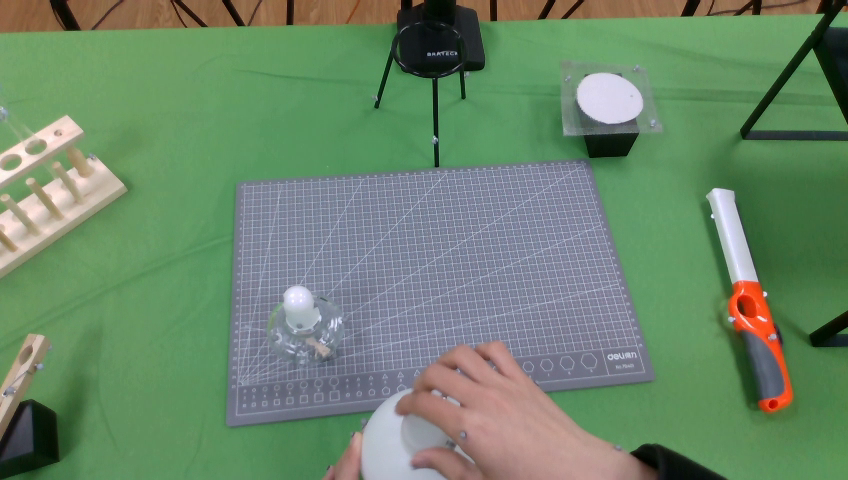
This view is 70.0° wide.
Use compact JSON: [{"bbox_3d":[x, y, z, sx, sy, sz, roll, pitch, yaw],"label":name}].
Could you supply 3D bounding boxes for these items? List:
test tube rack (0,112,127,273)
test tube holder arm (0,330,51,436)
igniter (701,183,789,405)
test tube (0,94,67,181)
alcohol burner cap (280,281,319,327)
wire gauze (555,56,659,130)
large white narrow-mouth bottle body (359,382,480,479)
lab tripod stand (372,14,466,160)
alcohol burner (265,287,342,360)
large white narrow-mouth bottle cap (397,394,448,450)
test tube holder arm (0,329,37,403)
[{"bbox_3d":[-0.465,-0.029,0.663,0.066,0.086,0.242,40,66,17],"label":"test tube rack"},{"bbox_3d":[-0.385,0.166,0.546,0.013,0.015,0.177,8,62,6],"label":"test tube holder arm"},{"bbox_3d":[0.368,0.053,0.699,0.057,0.025,0.274,6,61,-12],"label":"igniter"},{"bbox_3d":[-0.428,-0.111,0.654,0.017,0.151,0.017,0,59,1],"label":"test tube"},{"bbox_3d":[-0.120,0.059,0.574,0.034,0.048,0.033,0,56,0],"label":"alcohol burner cap"},{"bbox_3d":[0.232,-0.190,0.780,0.121,0.011,0.124,2,61,-2],"label":"wire gauze"},{"bbox_3d":[-0.005,0.177,0.515,0.102,0.196,0.101,1,60,-2],"label":"large white narrow-mouth bottle body"},{"bbox_3d":[0.003,-0.195,0.755,0.148,0.132,0.147,2,62,-4],"label":"lab tripod stand"},{"bbox_3d":[-0.122,0.076,0.606,0.078,0.120,0.077,2,59,-4],"label":"alcohol burner"},{"bbox_3d":[-0.001,0.131,0.437,0.038,0.024,0.037,1,61,-2],"label":"large white narrow-mouth bottle cap"},{"bbox_3d":[-0.384,0.127,0.567,0.010,0.015,0.087,6,62,6],"label":"test tube holder arm"}]
